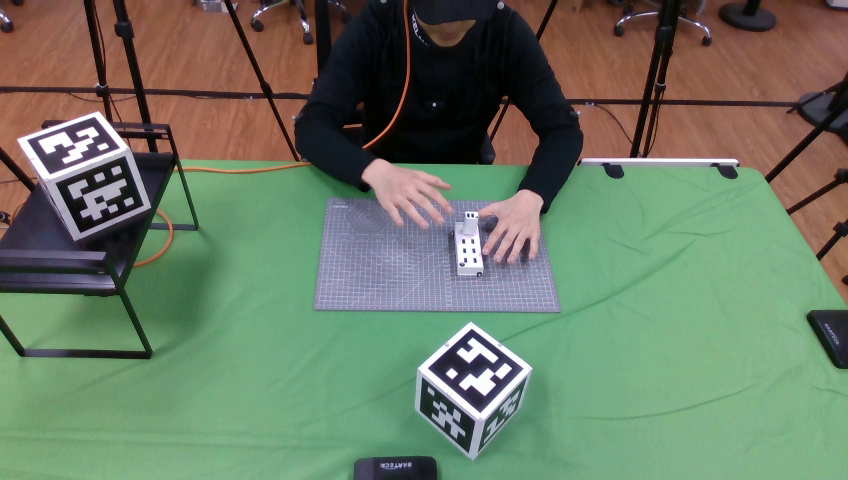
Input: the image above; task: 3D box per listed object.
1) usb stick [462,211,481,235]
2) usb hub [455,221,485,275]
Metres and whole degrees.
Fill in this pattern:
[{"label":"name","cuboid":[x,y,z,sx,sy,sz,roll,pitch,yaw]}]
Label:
[{"label":"usb stick","cuboid":[0.092,-0.037,1.167,0.027,0.059,0.021,-25,62,-21]},{"label":"usb hub","cuboid":[0.088,0.014,1.178,0.049,0.025,0.124,0,46,-2]}]
